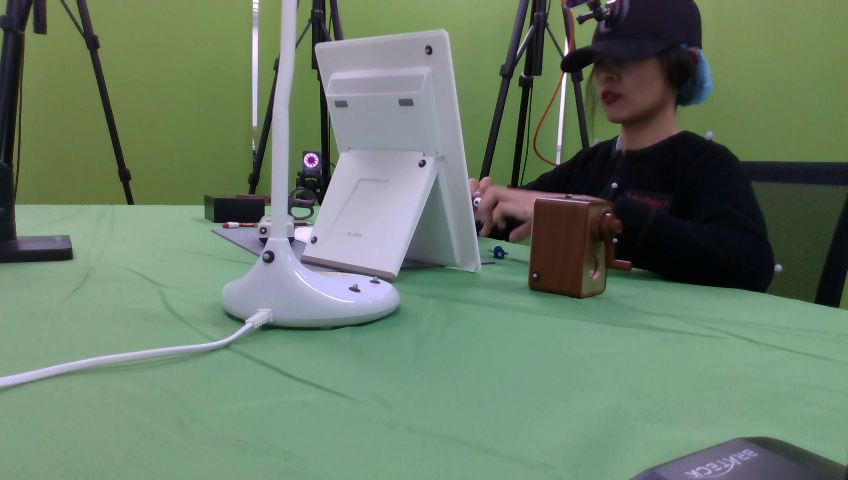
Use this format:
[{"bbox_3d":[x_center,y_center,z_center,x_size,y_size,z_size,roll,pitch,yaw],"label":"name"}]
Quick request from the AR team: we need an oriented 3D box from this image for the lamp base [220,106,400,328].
[{"bbox_3d":[-0.102,-0.023,0.531,0.160,0.180,0.179,4,10,10],"label":"lamp base"}]

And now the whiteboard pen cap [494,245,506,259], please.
[{"bbox_3d":[0.117,0.018,0.932,0.018,0.018,0.033,3,8,1],"label":"whiteboard pen cap"}]

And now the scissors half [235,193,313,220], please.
[{"bbox_3d":[-0.324,-0.077,1.319,0.176,0.040,0.012,17,6,-32],"label":"scissors half"}]

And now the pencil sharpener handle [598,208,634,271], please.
[{"bbox_3d":[0.208,0.000,0.645,0.030,0.068,0.036,10,23,42],"label":"pencil sharpener handle"}]

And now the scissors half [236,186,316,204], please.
[{"bbox_3d":[-0.320,-0.097,1.316,0.176,0.040,0.013,-3,11,-29],"label":"scissors half"}]

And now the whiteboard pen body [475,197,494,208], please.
[{"bbox_3d":[0.101,-0.062,1.010,0.017,0.017,0.141,4,6,14],"label":"whiteboard pen body"}]

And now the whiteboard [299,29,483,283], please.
[{"bbox_3d":[-0.074,-0.082,0.742,0.216,0.305,0.144,9,30,38],"label":"whiteboard"}]

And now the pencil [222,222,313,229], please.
[{"bbox_3d":[-0.302,-0.030,1.189,0.195,0.012,0.012,-2,9,-42],"label":"pencil"}]

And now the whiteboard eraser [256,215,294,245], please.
[{"bbox_3d":[-0.232,-0.015,0.951,0.056,0.042,0.112,2,7,-12],"label":"whiteboard eraser"}]

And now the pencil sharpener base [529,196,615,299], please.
[{"bbox_3d":[0.167,0.007,0.678,0.076,0.107,0.062,10,10,42],"label":"pencil sharpener base"}]
